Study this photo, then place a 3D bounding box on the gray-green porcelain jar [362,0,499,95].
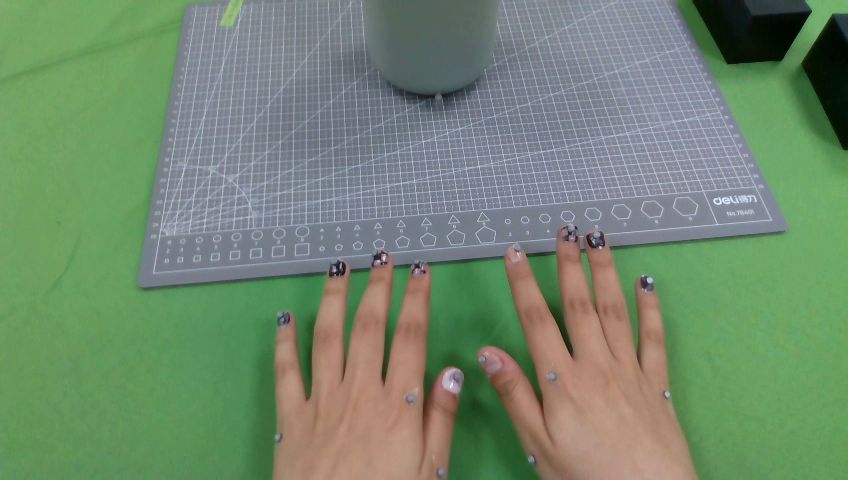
[{"bbox_3d":[0.005,-0.185,0.465,0.106,0.127,0.105,0,57,0],"label":"gray-green porcelain jar"}]
